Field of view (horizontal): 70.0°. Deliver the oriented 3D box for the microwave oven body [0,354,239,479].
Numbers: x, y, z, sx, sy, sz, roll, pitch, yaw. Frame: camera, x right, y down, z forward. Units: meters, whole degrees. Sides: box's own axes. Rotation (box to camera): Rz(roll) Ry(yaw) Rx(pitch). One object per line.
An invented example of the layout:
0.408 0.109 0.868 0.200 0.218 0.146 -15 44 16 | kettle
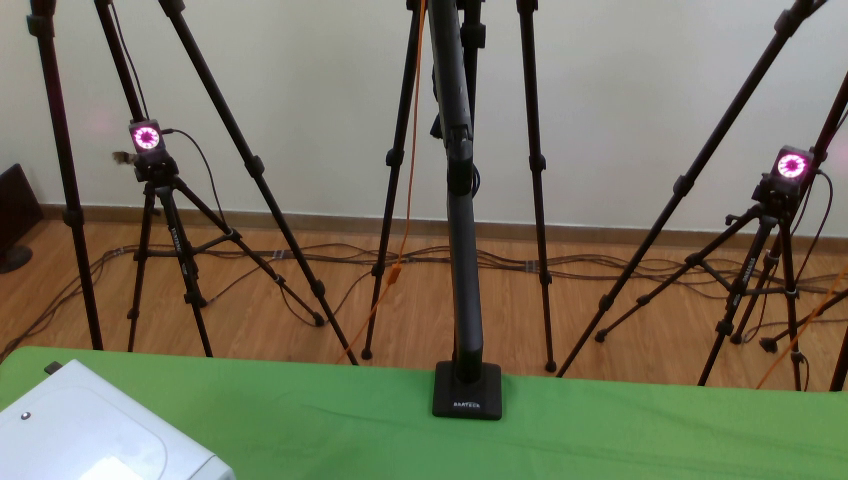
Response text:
-0.470 0.407 0.699 0.324 0.262 0.440 22 45 24 | microwave oven body
